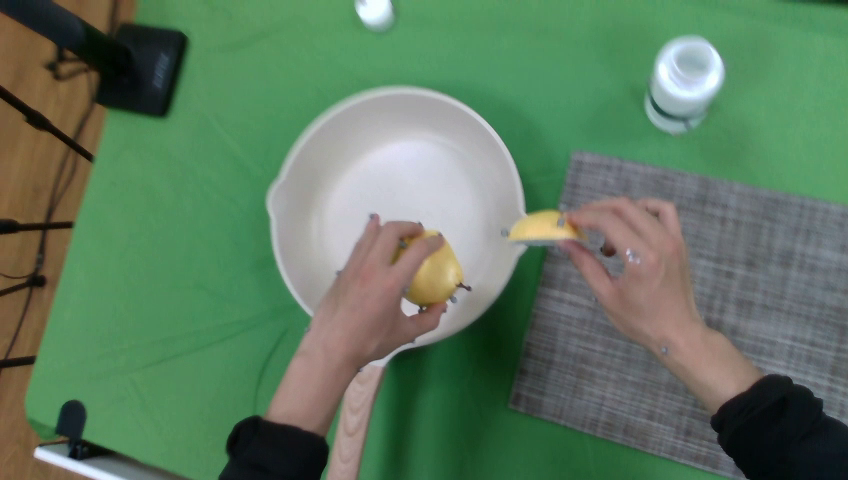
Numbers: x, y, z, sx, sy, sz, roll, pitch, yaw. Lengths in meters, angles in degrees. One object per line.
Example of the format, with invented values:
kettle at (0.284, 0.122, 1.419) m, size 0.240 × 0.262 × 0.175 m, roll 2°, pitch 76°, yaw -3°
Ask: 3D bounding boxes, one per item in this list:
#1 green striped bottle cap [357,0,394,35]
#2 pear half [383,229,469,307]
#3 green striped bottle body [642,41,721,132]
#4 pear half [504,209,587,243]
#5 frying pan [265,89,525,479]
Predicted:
green striped bottle cap at (-0.062, -0.286, 0.771) m, size 0.044 × 0.020 × 0.044 m, roll -2°, pitch 81°, yaw 13°
pear half at (-0.001, 0.033, 0.581) m, size 0.056 × 0.109 × 0.077 m, roll -18°, pitch 110°, yaw -30°
green striped bottle body at (0.266, -0.161, 0.628) m, size 0.063 × 0.120 × 0.063 m, roll -2°, pitch 81°, yaw 13°
pear half at (0.106, -0.012, 0.531) m, size 0.070 × 0.088 × 0.031 m, roll -4°, pitch 82°, yaw -8°
frying pan at (-0.054, 0.075, 0.674) m, size 0.306 × 0.103 × 0.485 m, roll 9°, pitch 76°, yaw 15°
